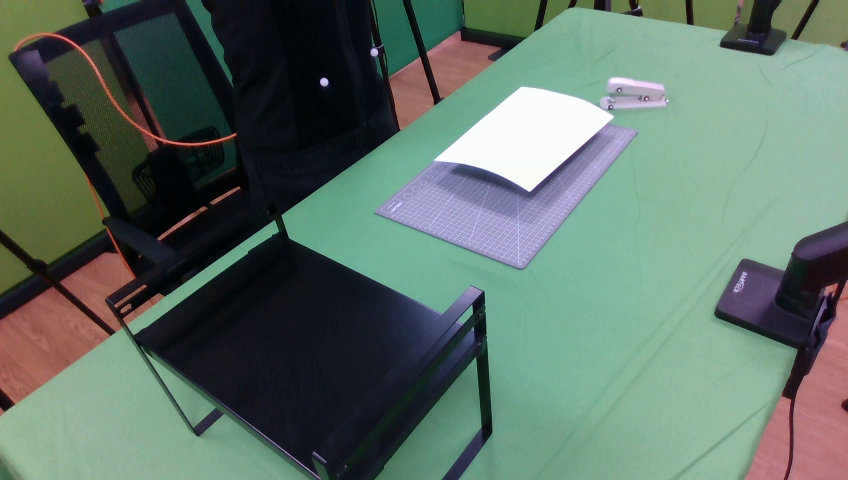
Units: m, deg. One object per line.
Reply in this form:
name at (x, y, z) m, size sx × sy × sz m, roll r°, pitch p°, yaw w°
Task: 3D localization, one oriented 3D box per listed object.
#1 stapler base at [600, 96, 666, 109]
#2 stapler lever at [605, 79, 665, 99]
stapler base at (0.432, -0.292, 1.251) m, size 0.130 × 0.024 × 0.041 m, roll 0°, pitch 44°, yaw 7°
stapler lever at (0.431, -0.310, 1.235) m, size 0.118 × 0.040 × 0.026 m, roll -1°, pitch 44°, yaw 7°
